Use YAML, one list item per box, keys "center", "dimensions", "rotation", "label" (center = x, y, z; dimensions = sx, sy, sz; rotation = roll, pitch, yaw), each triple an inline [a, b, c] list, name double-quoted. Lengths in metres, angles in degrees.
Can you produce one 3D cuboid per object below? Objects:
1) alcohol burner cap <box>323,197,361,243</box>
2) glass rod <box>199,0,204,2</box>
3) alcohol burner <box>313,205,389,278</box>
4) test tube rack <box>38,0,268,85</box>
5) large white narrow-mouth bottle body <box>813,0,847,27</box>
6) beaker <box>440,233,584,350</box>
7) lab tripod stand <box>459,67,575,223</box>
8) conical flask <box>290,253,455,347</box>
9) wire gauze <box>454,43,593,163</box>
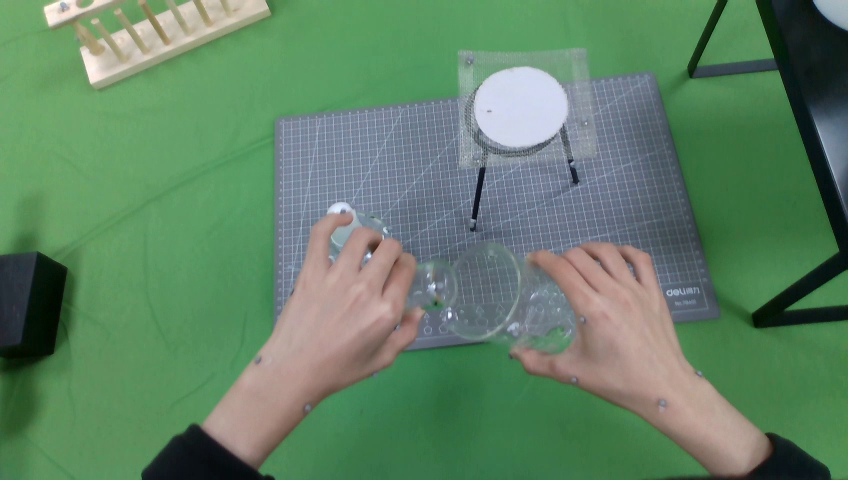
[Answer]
- center: [-0.079, -0.022, 0.568]
  dimensions: [0.034, 0.048, 0.033]
  rotation: [-1, 62, 2]
  label: "alcohol burner cap"
- center: [-0.291, -0.352, 0.701]
  dimensions: [0.008, 0.201, 0.008]
  rotation: [0, 66, 0]
  label: "glass rod"
- center: [-0.075, -0.006, 0.601]
  dimensions: [0.078, 0.120, 0.077]
  rotation: [-1, 67, 3]
  label: "alcohol burner"
- center: [-0.329, -0.290, 0.752]
  dimensions: [0.242, 0.086, 0.066]
  rotation: [-25, 69, -5]
  label: "test tube rack"
- center: [0.363, -0.248, 0.423]
  dimensions: [0.102, 0.196, 0.101]
  rotation: [-2, 67, 4]
  label: "large white narrow-mouth bottle body"
- center: [0.071, 0.047, 0.477]
  dimensions: [0.084, 0.101, 0.073]
  rotation: [-43, 48, 26]
  label: "beaker"
- center: [0.087, -0.099, 0.612]
  dimensions: [0.148, 0.132, 0.147]
  rotation: [-1, 67, 3]
  label: "lab tripod stand"
- center: [-0.037, 0.039, 0.467]
  dimensions: [0.121, 0.076, 0.075]
  rotation: [-14, 64, 30]
  label: "conical flask"
- center: [0.089, -0.128, 0.550]
  dimensions: [0.121, 0.011, 0.124]
  rotation: [-1, 69, 3]
  label: "wire gauze"
